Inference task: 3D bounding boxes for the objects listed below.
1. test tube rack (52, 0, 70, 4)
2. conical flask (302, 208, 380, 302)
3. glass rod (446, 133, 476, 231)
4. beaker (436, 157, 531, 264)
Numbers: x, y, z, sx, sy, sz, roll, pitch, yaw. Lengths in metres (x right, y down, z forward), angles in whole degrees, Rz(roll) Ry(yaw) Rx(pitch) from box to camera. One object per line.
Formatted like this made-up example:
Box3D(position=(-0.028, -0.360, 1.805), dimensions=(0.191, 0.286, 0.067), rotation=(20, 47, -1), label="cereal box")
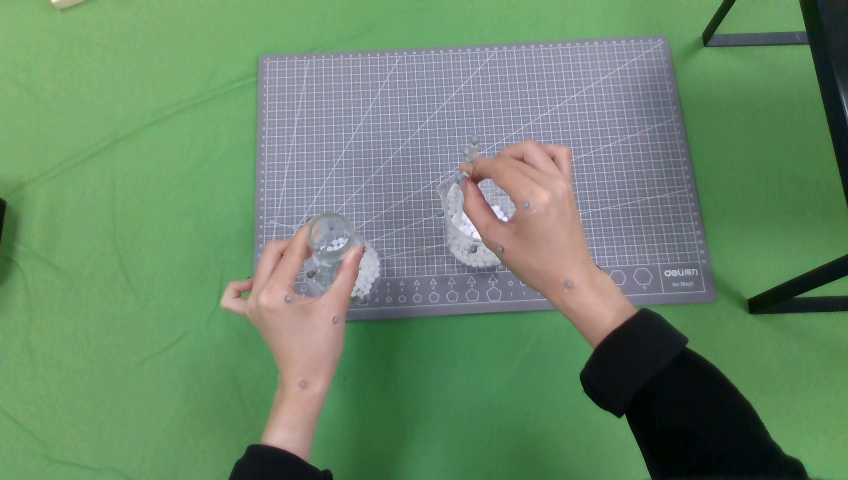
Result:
Box3D(position=(-0.322, -0.355, 0.669), dimensions=(0.242, 0.085, 0.066), rotation=(-23, 75, -6), label="test tube rack")
Box3D(position=(-0.078, 0.008, 0.536), dimensions=(0.075, 0.122, 0.075), rotation=(1, 73, -2), label="conical flask")
Box3D(position=(0.028, -0.041, 0.498), dimensions=(0.008, 0.200, 0.008), rotation=(1, 73, -2), label="glass rod")
Box3D(position=(0.051, -0.023, 0.561), dimensions=(0.084, 0.101, 0.073), rotation=(20, 74, 8), label="beaker")
